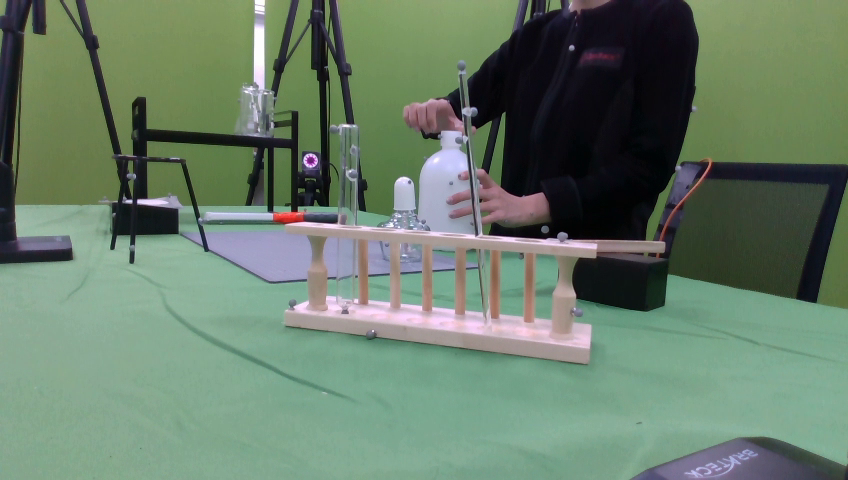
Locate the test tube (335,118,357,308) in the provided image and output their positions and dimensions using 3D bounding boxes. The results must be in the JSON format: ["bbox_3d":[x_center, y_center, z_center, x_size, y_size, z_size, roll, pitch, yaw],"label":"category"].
[{"bbox_3d":[-0.061,-0.019,0.476,0.017,0.150,0.017,2,10,0],"label":"test tube"}]

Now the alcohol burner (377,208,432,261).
[{"bbox_3d":[-0.027,-0.031,0.838,0.078,0.119,0.078,0,6,0],"label":"alcohol burner"}]

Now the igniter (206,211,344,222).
[{"bbox_3d":[-0.302,-0.048,1.249,0.278,0.025,0.057,-2,-2,-27],"label":"igniter"}]

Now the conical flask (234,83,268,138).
[{"bbox_3d":[-0.399,-0.298,1.396,0.075,0.122,0.075,2,8,0],"label":"conical flask"}]

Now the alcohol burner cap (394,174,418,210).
[{"bbox_3d":[-0.026,-0.067,0.834,0.034,0.048,0.034,-1,12,1],"label":"alcohol burner cap"}]

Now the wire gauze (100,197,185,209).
[{"bbox_3d":[-0.469,-0.062,1.008,0.126,0.011,0.121,-2,8,-25],"label":"wire gauze"}]

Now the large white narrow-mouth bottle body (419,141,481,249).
[{"bbox_3d":[0.044,-0.086,0.995,0.102,0.194,0.102,2,8,0],"label":"large white narrow-mouth bottle body"}]

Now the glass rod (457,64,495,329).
[{"bbox_3d":[0.040,-0.029,0.449,0.008,0.199,0.008,-7,9,1],"label":"glass rod"}]

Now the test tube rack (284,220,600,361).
[{"bbox_3d":[0.013,0.032,0.482,0.242,0.085,0.067,4,7,16],"label":"test tube rack"}]

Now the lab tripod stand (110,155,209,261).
[{"bbox_3d":[-0.361,-0.046,0.806,0.148,0.131,0.148,2,5,0],"label":"lab tripod stand"}]

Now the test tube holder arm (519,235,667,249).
[{"bbox_3d":[0.186,0.003,0.654,0.179,0.015,0.013,0,13,-18],"label":"test tube holder arm"}]

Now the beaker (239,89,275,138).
[{"bbox_3d":[-0.361,-0.273,1.308,0.074,0.100,0.084,0,8,-11],"label":"beaker"}]

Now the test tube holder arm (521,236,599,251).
[{"bbox_3d":[0.144,0.004,0.635,0.088,0.015,0.010,0,13,-19],"label":"test tube holder arm"}]

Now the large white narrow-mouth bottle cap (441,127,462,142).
[{"bbox_3d":[0.045,-0.171,0.984,0.038,0.024,0.037,2,8,0],"label":"large white narrow-mouth bottle cap"}]
